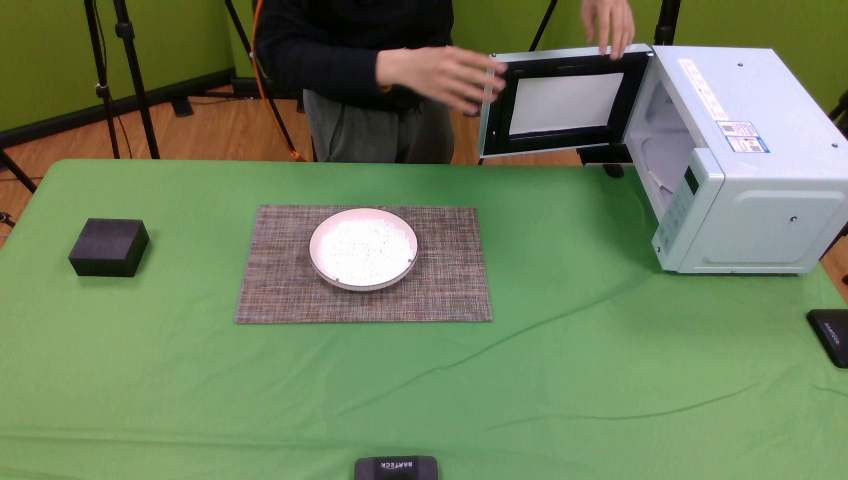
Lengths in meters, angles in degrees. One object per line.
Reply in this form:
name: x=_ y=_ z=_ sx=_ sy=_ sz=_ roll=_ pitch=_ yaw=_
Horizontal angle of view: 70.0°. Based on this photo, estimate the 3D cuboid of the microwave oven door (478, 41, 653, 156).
microwave oven door: x=0.304 y=-0.309 z=1.335 sx=0.356 sy=0.245 sz=0.039 roll=-8 pitch=48 yaw=-10

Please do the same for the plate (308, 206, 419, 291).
plate: x=-0.114 y=0.019 z=1.153 sx=0.209 sy=0.038 sz=0.208 roll=2 pitch=47 yaw=-2

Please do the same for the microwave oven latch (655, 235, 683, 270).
microwave oven latch: x=0.473 y=0.021 z=1.175 sx=0.030 sy=0.029 sz=0.078 roll=3 pitch=46 yaw=0

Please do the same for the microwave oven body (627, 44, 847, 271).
microwave oven body: x=0.619 y=-0.172 z=1.234 sx=0.326 sy=0.261 sz=0.439 roll=0 pitch=46 yaw=-3
